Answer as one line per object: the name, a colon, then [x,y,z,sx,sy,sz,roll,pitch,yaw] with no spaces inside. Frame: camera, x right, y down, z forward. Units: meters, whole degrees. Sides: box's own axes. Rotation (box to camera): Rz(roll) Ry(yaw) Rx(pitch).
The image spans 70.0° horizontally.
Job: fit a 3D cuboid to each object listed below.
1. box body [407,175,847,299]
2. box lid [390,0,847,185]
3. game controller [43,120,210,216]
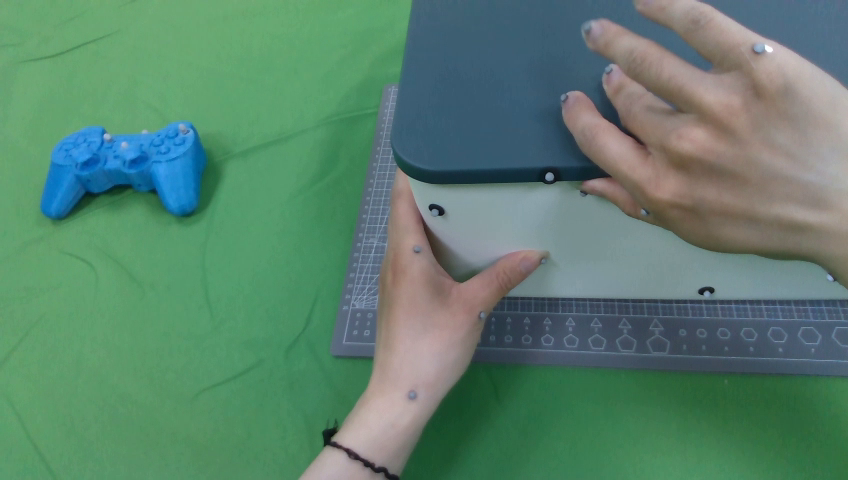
box body: [0.181,-0.096,0.436,0.363,0.162,0.252,0,55,9]
box lid: [0.169,-0.139,0.378,0.371,0.015,0.261,0,55,9]
game controller: [-0.277,-0.072,0.567,0.155,0.052,0.096,0,52,8]
